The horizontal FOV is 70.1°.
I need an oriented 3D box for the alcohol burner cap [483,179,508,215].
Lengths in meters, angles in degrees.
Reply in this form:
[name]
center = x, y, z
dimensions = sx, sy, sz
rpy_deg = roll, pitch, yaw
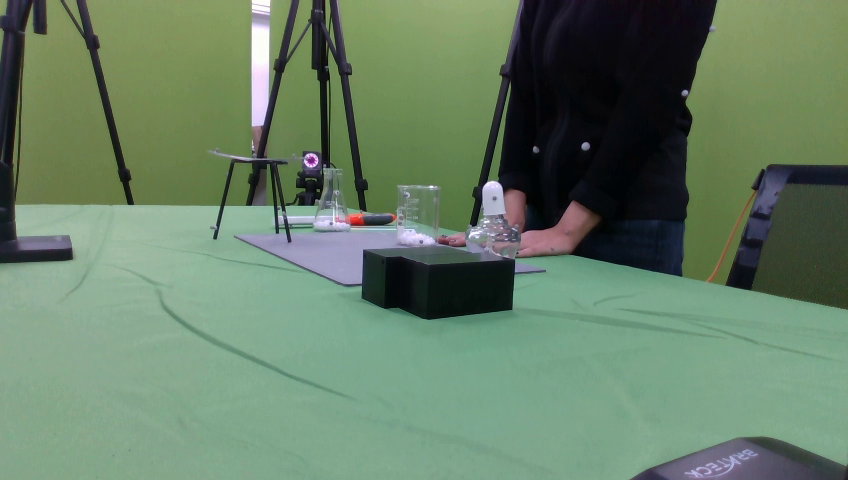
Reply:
[alcohol burner cap]
center = 0.094, -0.057, 0.810
dimensions = 0.034, 0.048, 0.034
rpy_deg = -8, 6, 1

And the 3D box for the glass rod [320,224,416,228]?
[glass rod]
center = -0.113, -0.029, 1.237
dimensions = 0.200, 0.008, 0.008
rpy_deg = -1, 7, -18

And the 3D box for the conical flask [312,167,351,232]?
[conical flask]
center = -0.176, -0.078, 1.162
dimensions = 0.075, 0.122, 0.075
rpy_deg = 3, 7, 0

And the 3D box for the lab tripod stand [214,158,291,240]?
[lab tripod stand]
center = -0.268, -0.068, 1.002
dimensions = 0.148, 0.131, 0.148
rpy_deg = 3, 6, 0

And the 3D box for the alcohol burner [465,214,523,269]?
[alcohol burner]
center = 0.094, -0.021, 0.815
dimensions = 0.078, 0.119, 0.078
rpy_deg = 0, 7, 0

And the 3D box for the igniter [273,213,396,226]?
[igniter]
center = -0.179, -0.044, 1.258
dimensions = 0.278, 0.025, 0.057
rpy_deg = -3, -1, -39

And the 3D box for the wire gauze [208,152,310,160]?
[wire gauze]
center = -0.270, -0.135, 0.993
dimensions = 0.124, 0.011, 0.122
rpy_deg = 9, 8, 41

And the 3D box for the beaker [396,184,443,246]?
[beaker]
center = -0.011, -0.043, 1.004
dimensions = 0.083, 0.100, 0.074
rpy_deg = 8, 9, 38
